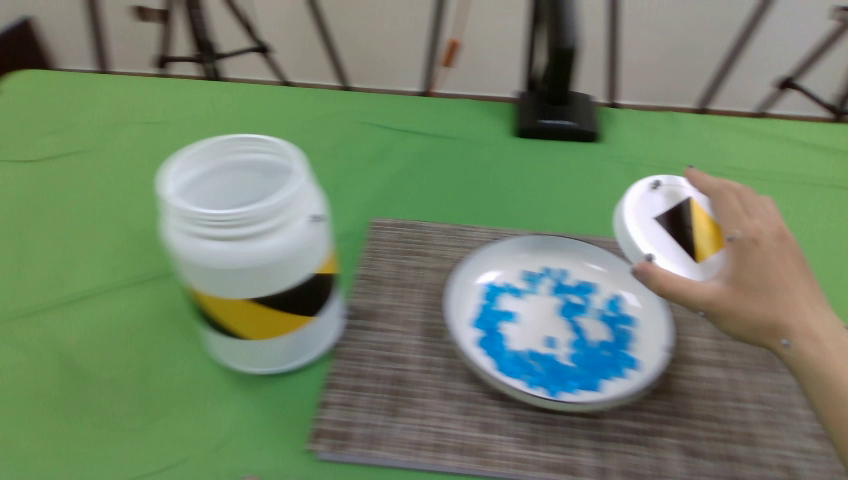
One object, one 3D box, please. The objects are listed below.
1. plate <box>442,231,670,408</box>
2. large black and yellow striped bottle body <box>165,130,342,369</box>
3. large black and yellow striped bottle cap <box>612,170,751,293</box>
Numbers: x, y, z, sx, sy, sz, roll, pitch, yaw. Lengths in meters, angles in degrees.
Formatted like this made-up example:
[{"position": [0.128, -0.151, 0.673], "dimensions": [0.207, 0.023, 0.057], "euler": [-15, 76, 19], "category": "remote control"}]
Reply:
[{"position": [0.120, 0.072, 0.571], "dimensions": [0.208, 0.039, 0.205], "euler": [1, 42, 0], "category": "plate"}, {"position": [-0.145, 0.010, 0.532], "dimensions": [0.131, 0.185, 0.129], "euler": [0, 42, 0], "category": "large black and yellow striped bottle body"}, {"position": [0.213, -0.010, 0.502], "dimensions": [0.115, 0.019, 0.114], "euler": [7, 56, -9], "category": "large black and yellow striped bottle cap"}]
